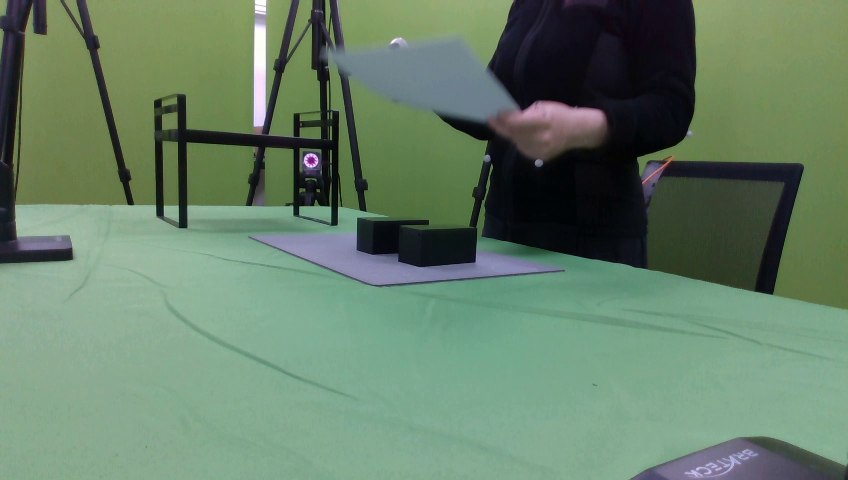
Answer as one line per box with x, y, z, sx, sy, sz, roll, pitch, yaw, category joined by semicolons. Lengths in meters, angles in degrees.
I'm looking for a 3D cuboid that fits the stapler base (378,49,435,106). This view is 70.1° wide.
-0.030;-0.299;1.100;0.041;0.024;0.131;-10;-40;38;stapler base

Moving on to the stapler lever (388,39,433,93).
-0.024;-0.318;1.113;0.026;0.040;0.118;-10;-39;38;stapler lever
